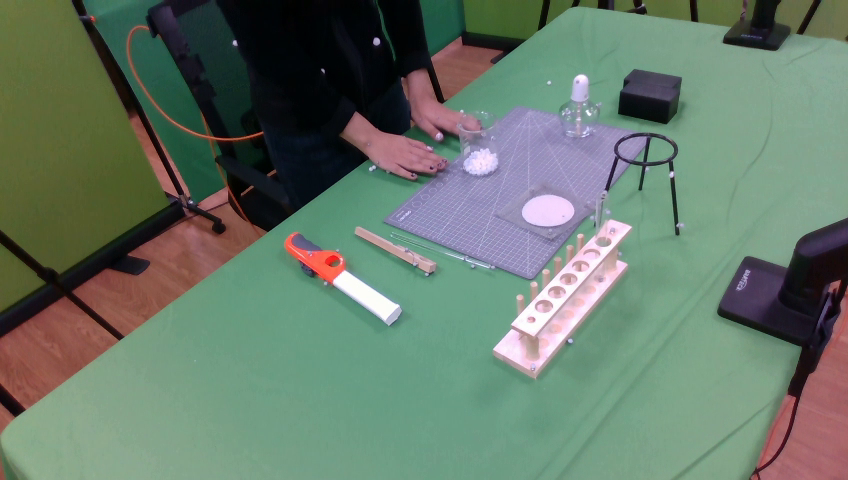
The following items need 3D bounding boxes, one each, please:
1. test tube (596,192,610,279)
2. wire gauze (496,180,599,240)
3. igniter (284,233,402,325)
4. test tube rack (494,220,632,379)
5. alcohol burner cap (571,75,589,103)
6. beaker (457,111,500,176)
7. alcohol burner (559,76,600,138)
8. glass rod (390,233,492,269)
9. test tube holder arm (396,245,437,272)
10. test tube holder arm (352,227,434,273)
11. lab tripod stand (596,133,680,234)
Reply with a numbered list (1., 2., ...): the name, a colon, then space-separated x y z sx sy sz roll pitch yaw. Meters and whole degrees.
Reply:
1. test tube: 0.240 -0.002 0.814 0.017 0.151 0.017 -7 42 7
2. wire gauze: 0.206 -0.050 1.012 0.125 0.011 0.120 -34 45 -26
3. igniter: -0.136 0.054 0.942 0.274 0.025 0.057 30 64 37
4. test tube rack: 0.191 0.068 0.818 0.066 0.085 0.243 25 51 35
5. alcohol burner cap: 0.294 -0.284 1.132 0.034 0.048 0.033 -5 46 5
6. beaker: 0.104 -0.176 1.108 0.073 0.101 0.084 16 46 27
7. alcohol burner: 0.298 -0.258 1.156 0.078 0.119 0.077 -4 39 4
8. glass rod: 0.023 0.017 0.971 0.198 0.008 0.008 18 48 32
9. test tube holder arm: -0.016 0.029 0.957 0.087 0.015 0.010 25 16 35
10. test tube holder arm: -0.053 0.014 0.978 0.177 0.015 0.013 25 16 34
11. lab tripod stand: 0.338 -0.091 0.940 0.148 0.132 0.147 -7 39 6
